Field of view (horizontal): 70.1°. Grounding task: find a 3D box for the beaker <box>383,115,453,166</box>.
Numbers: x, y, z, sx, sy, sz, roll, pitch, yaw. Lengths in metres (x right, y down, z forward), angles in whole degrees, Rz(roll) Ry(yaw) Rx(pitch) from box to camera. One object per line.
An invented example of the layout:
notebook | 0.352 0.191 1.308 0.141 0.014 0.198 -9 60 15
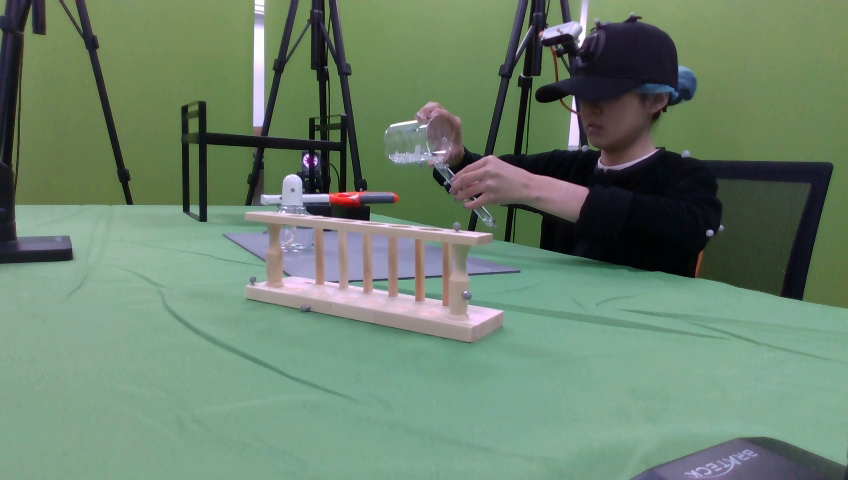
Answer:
beaker | -0.012 -0.163 1.022 0.100 0.084 0.074 0 -1 38

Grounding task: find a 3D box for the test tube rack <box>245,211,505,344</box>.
test tube rack | -0.049 0.025 0.547 0.241 0.085 0.067 7 8 29

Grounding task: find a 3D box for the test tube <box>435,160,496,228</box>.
test tube | 0.066 -0.074 0.964 0.017 0.017 0.149 -6 50 -49

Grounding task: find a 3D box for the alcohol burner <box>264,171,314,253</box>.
alcohol burner | -0.194 -0.042 0.888 0.078 0.119 0.078 3 5 0

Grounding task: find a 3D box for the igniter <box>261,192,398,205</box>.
igniter | -0.185 -0.083 1.217 0.278 0.025 0.057 -2 12 -25

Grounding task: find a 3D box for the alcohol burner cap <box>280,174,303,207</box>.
alcohol burner cap | -0.193 -0.072 0.884 0.034 0.048 0.034 1 5 0
